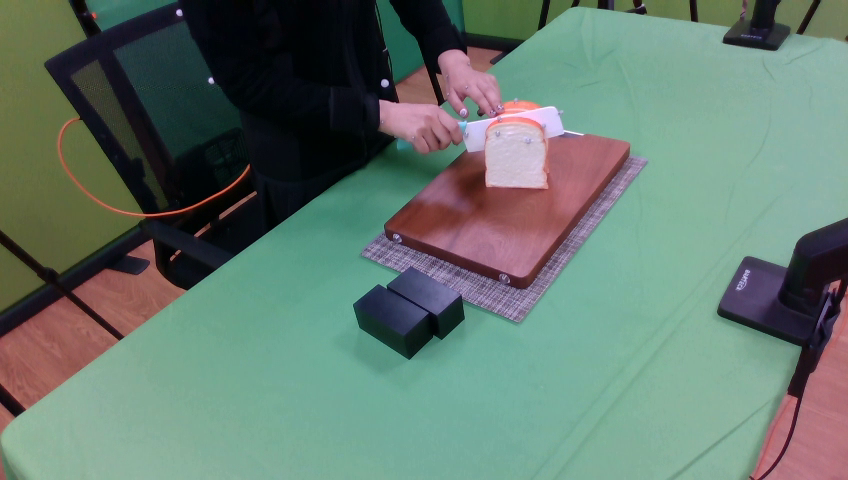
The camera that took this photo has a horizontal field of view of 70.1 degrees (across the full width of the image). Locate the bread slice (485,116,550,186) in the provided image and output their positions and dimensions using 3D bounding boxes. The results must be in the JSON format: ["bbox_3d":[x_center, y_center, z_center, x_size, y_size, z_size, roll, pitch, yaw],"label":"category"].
[{"bbox_3d":[0.150,-0.144,0.995,0.106,0.135,0.018,-2,45,14],"label":"bread slice"}]

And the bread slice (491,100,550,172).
[{"bbox_3d":[0.165,-0.175,1.032,0.104,0.132,0.019,3,37,12],"label":"bread slice"}]

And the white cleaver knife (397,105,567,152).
[{"bbox_3d":[0.087,-0.171,0.991,0.285,0.066,0.021,-5,39,21],"label":"white cleaver knife"}]
